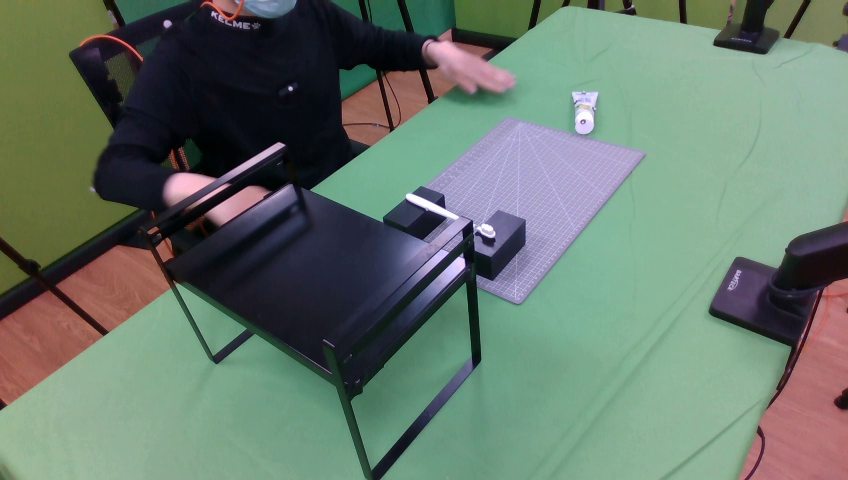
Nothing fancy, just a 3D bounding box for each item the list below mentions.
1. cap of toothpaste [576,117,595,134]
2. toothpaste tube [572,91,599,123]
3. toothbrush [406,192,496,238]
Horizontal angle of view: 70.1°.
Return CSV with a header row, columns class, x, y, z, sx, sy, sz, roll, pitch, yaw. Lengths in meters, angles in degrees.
class,x,y,z,sx,sy,sz,roll,pitch,yaw
cap of toothpaste,0.313,-0.224,1.172,0.037,0.037,0.011,-2,41,6
toothpaste tube,0.331,-0.272,1.234,0.055,0.034,0.164,8,39,8
toothbrush,0.037,-0.043,0.937,0.180,0.017,0.014,26,66,35
